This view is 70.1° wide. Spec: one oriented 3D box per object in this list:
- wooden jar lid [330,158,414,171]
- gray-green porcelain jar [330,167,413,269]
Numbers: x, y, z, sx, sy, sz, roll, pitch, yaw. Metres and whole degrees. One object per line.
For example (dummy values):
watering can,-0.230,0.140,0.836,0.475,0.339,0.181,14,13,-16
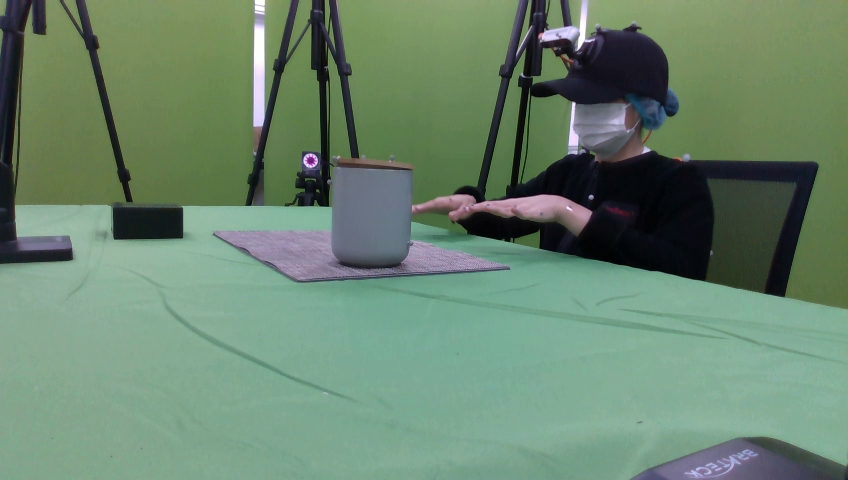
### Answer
wooden jar lid,-0.067,-0.092,0.783,0.108,0.020,0.108,5,6,0
gray-green porcelain jar,-0.069,-0.030,0.791,0.106,0.126,0.106,3,7,0
